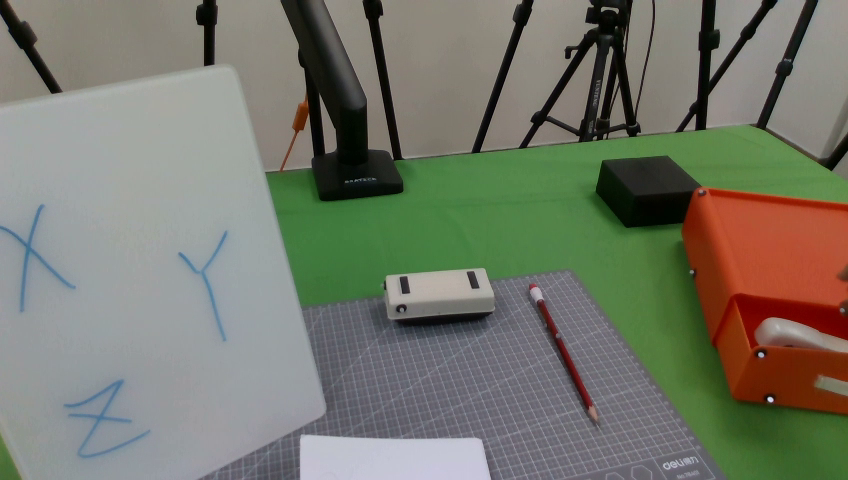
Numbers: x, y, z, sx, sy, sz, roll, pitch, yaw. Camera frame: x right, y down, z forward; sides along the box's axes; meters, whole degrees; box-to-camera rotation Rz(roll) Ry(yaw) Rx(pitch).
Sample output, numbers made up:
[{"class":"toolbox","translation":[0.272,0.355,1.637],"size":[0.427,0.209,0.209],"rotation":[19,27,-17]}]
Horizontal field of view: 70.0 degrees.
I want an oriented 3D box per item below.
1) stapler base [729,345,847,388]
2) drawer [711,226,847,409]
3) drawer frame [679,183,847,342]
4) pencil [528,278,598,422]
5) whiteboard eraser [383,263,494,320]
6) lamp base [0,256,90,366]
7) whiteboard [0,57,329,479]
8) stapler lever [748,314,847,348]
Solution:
[{"class":"stapler base","translation":[0.366,0.116,0.581],"size":[0.130,0.024,0.041],"rotation":[5,38,9]},{"class":"drawer","translation":[0.395,0.070,0.614],"size":[0.194,0.074,0.210],"rotation":[6,35,7]},{"class":"drawer frame","translation":[0.405,0.030,0.668],"size":[0.201,0.083,0.212],"rotation":[6,35,7]},{"class":"pencil","translation":[0.137,0.103,0.609],"size":[0.012,0.012,0.192],"rotation":[-4,37,-9]},{"class":"whiteboard eraser","translation":[0.014,0.055,0.641],"size":[0.113,0.042,0.055],"rotation":[-3,37,-8]},{"class":"lamp base","translation":[-0.434,0.006,0.568],"size":[0.178,0.182,0.160],"rotation":[16,37,22]},{"class":"whiteboard","translation":[-0.233,0.031,0.486],"size":[0.218,0.307,0.142],"rotation":[-21,22,-28]},{"class":"stapler lever","translation":[0.367,0.095,0.566],"size":[0.118,0.040,0.026],"rotation":[6,38,8]}]
